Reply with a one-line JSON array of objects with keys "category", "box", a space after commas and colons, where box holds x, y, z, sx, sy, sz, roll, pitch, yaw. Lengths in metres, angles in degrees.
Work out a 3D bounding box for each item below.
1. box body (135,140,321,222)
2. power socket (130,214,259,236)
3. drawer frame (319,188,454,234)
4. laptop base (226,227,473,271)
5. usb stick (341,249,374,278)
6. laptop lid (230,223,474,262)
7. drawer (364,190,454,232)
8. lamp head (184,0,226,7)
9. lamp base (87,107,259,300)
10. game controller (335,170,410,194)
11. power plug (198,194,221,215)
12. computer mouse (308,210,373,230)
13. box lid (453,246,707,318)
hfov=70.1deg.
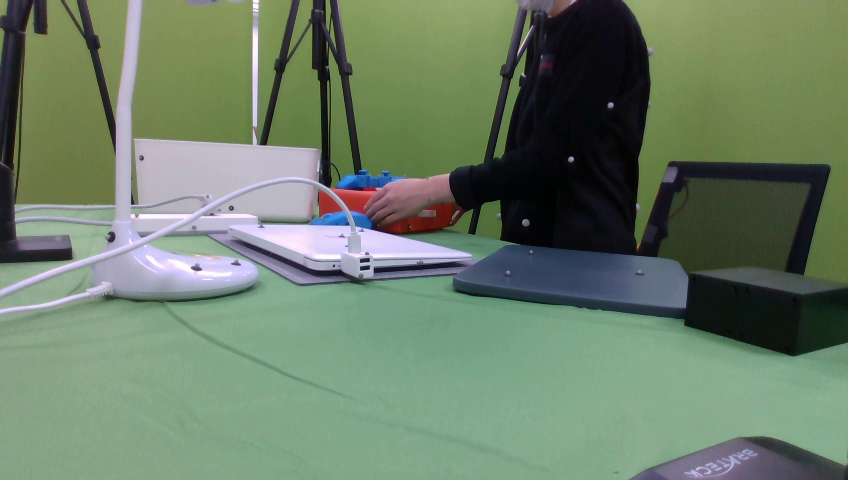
[{"category": "box body", "box": [-0.420, -0.133, 1.354, 0.365, 0.160, 0.253, 2, 7, -8]}, {"category": "power socket", "box": [-0.397, -0.028, 1.048, 0.228, 0.032, 0.072, -3, 7, -35]}, {"category": "drawer frame", "box": [-0.078, -0.068, 1.284, 0.212, 0.082, 0.202, 7, 9, 33]}, {"category": "laptop base", "box": [-0.124, 0.011, 0.888, 0.237, 0.023, 0.352, 2, 6, -35]}, {"category": "usb stick", "box": [-0.079, 0.026, 0.686, 0.021, 0.027, 0.059, -7, 9, -30]}, {"category": "laptop lid", "box": [-0.121, 0.000, 0.888, 0.243, 0.013, 0.355, 1, 7, -33]}, {"category": "drawer", "box": [-0.075, -0.069, 1.287, 0.211, 0.073, 0.195, 8, 10, 34]}, {"category": "lamp head", "box": [-0.229, -0.320, 0.627, 0.112, 0.112, 0.123, 6, -36, 26]}, {"category": "lamp base", "box": [-0.254, -0.039, 0.603, 0.160, 0.180, 0.179, 5, 10, 18]}, {"category": "game controller", "box": [-0.104, -0.121, 1.290, 0.155, 0.051, 0.097, 4, 4, 8]}, {"category": "power plug", "box": [-0.386, -0.055, 1.088, 0.035, 0.052, 0.072, -1, 7, -24]}, {"category": "computer mouse", "box": [-0.157, -0.034, 1.138, 0.118, 0.041, 0.062, -6, 12, -28]}, {"category": "box lid", "box": [0.203, 0.044, 0.780, 0.262, 0.015, 0.372, 5, 7, 17]}]
